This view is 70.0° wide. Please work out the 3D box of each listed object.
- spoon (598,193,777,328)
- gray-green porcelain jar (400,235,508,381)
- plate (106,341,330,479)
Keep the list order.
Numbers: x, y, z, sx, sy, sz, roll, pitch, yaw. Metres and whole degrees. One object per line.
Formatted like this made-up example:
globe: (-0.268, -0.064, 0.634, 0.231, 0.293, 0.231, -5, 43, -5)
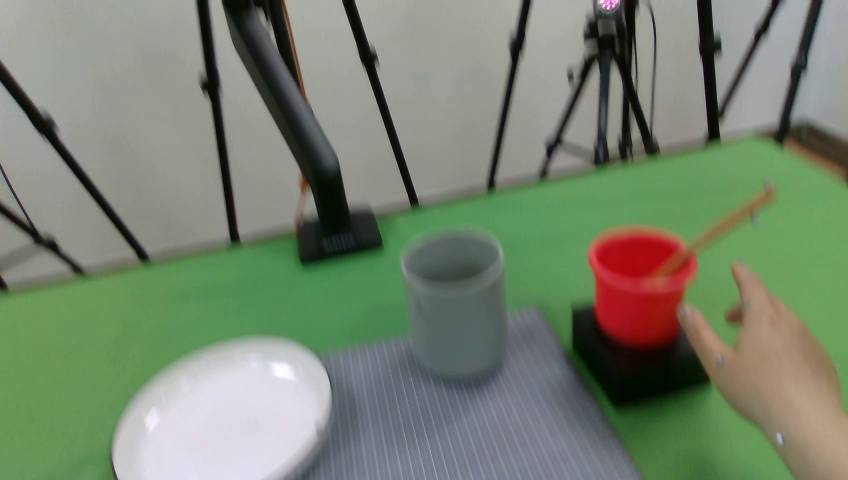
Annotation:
spoon: (0.244, 0.021, 0.569, 0.194, 0.022, 0.041, -46, 25, 23)
gray-green porcelain jar: (0.034, 0.075, 0.633, 0.106, 0.127, 0.105, -5, 32, 4)
plate: (-0.193, 0.181, 0.589, 0.207, 0.039, 0.206, -5, 31, 3)
